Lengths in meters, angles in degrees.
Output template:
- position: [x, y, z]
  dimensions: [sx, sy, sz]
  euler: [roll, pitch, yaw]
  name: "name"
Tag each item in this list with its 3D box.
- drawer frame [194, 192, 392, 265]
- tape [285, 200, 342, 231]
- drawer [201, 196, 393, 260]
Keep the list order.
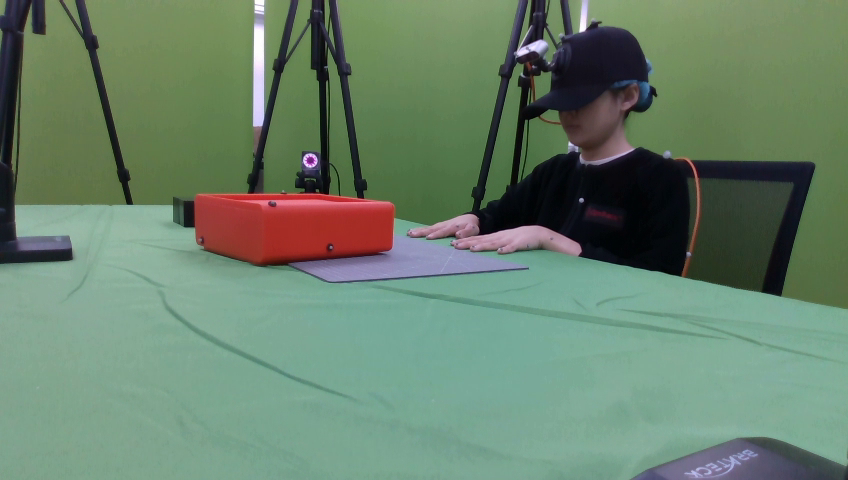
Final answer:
- position: [-0.190, -0.024, 0.882]
  dimensions: [0.215, 0.082, 0.200]
  euler: [-5, 11, -44]
  name: "drawer frame"
- position: [-0.223, -0.051, 1.222]
  dimensions: [0.117, 0.052, 0.117]
  euler: [3, 7, 0]
  name: "tape"
- position: [-0.186, -0.023, 0.886]
  dimensions: [0.213, 0.073, 0.193]
  euler: [-5, 11, -43]
  name: "drawer"
